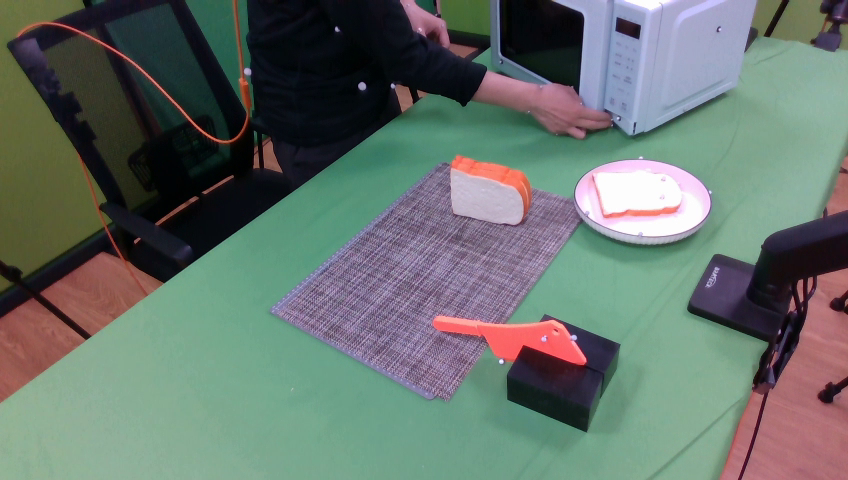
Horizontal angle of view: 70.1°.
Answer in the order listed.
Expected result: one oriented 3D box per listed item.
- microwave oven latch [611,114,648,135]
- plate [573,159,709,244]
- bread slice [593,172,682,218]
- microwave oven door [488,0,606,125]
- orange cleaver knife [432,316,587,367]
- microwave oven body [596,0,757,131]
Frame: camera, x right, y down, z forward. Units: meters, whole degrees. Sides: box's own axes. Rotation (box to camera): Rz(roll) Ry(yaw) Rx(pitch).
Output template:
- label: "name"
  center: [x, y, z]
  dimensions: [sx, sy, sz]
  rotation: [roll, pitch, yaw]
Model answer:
- label: "microwave oven latch"
  center: [0.386, -0.226, 1.139]
  dimensions: [0.030, 0.029, 0.078]
  rotation: [-17, 41, -9]
- label: "plate"
  center: [0.347, -0.059, 0.979]
  dimensions: [0.207, 0.039, 0.206]
  rotation: [-4, 41, 4]
- label: "bread slice"
  center: [0.351, -0.076, 0.995]
  dimensions: [0.134, 0.018, 0.106]
  rotation: [-4, 44, 1]
- label: "microwave oven door"
  center: [0.243, -0.409, 1.216]
  dimensions: [0.039, 0.245, 0.352]
  rotation: [-25, 43, -19]
- label: "orange cleaver knife"
  center: [0.101, 0.127, 0.761]
  dimensions: [0.210, 0.077, 0.012]
  rotation: [-1, 34, 40]
- label: "microwave oven body"
  center: [0.396, -0.448, 1.248]
  dimensions: [0.327, 0.261, 0.437]
  rotation: [-27, 44, -21]
